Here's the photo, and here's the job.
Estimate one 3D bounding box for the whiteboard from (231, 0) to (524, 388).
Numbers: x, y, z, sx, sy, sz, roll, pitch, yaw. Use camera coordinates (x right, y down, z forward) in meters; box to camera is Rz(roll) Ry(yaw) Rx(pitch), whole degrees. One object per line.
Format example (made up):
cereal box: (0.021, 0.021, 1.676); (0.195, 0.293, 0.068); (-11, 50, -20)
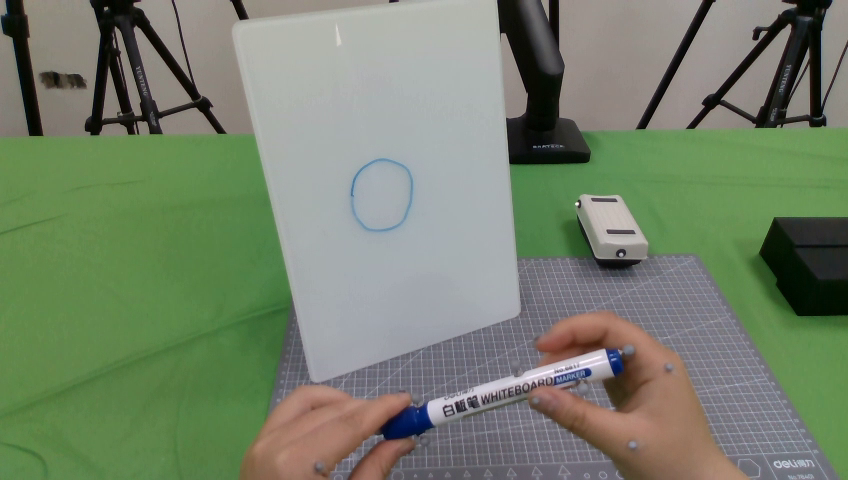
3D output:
whiteboard: (-0.044, -0.056, 0.574); (0.218, 0.307, 0.142); (-15, 21, -19)

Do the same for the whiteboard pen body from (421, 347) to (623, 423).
whiteboard pen body: (0.045, 0.088, 0.350); (0.140, 0.017, 0.017); (-21, 34, 16)

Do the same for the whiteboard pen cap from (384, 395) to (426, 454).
whiteboard pen cap: (-0.012, 0.111, 0.365); (0.018, 0.033, 0.018); (20, 19, -7)

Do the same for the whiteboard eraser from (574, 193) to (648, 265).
whiteboard eraser: (0.212, -0.014, 0.695); (0.055, 0.042, 0.111); (-1, 34, 0)
